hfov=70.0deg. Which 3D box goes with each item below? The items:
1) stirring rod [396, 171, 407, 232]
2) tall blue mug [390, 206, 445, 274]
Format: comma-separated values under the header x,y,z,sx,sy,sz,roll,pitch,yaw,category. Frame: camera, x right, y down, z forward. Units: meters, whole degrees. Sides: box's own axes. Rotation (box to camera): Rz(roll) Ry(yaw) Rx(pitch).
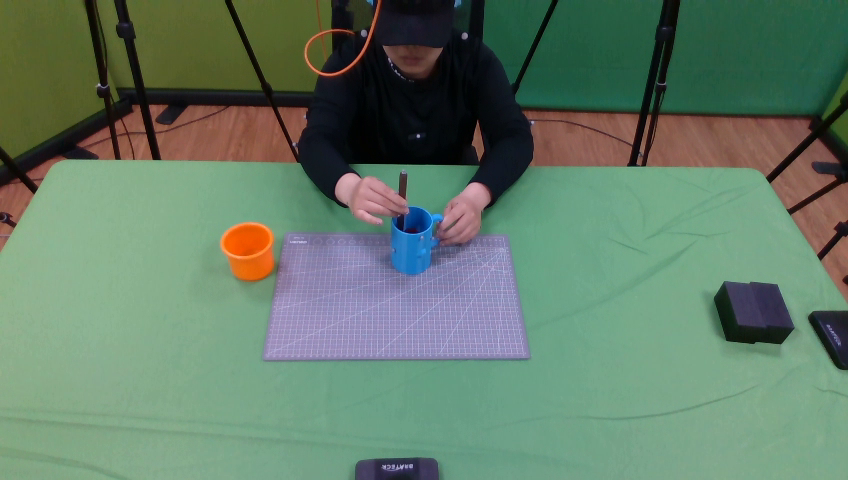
x,y,z,sx,sy,sz,roll,pitch,yaw,category
-0.042,-0.060,1.081,0.014,0.177,0.006,9,52,2,stirring rod
-0.017,-0.008,1.142,0.077,0.108,0.107,23,49,19,tall blue mug
